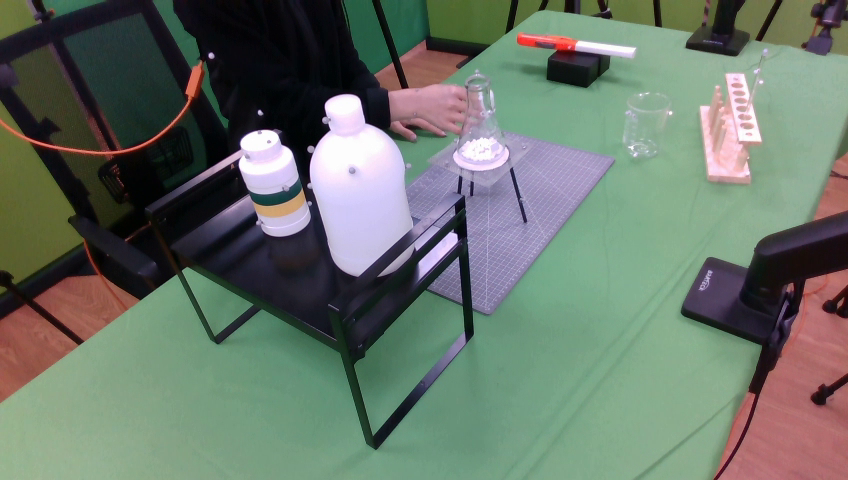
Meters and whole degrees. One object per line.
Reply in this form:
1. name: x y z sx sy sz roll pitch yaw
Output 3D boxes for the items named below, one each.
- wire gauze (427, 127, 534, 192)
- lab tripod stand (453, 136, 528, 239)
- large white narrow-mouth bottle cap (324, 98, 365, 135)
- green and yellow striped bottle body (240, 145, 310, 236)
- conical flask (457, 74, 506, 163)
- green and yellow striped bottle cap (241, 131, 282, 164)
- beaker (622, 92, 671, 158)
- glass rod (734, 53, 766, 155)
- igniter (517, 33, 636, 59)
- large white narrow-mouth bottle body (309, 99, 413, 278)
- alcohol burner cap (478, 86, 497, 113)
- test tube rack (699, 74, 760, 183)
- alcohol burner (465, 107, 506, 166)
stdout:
1. wire gauze: 0.086 -0.130 0.925 0.124 0.011 0.122 28 54 31
2. lab tripod stand: 0.095 -0.086 0.974 0.148 0.132 0.147 -4 43 4
3. large white narrow-mouth bottle cap: -0.076 -0.120 0.585 0.038 0.024 0.037 -3 42 3
4. green and yellow striped bottle body: -0.181 -0.068 0.729 0.063 0.120 0.063 -4 40 4
5. conical flask: 0.082 -0.181 0.893 0.075 0.122 0.075 -4 41 4
6. green and yellow striped bottle cap: -0.187 -0.107 0.695 0.045 0.020 0.045 -3 39 3
7. beaker: 0.402 -0.210 1.106 0.074 0.101 0.083 -9 40 -2
8. glass rod: 0.540 -0.220 1.006 0.008 0.201 0.008 -5 45 6
9. igniter: 0.336 -0.441 1.369 0.275 0.025 0.057 16 41 23
10. large white narrow-mouth bottle body: -0.069 -0.057 0.644 0.102 0.195 0.101 -3 42 4
11. alcohol burner cap: 0.111 -0.250 1.065 0.034 0.048 0.033 -4 58 6
12. test tube rack: 0.547 -0.208 1.095 0.066 0.085 0.242 6 42 16
13. alcohol burner: 0.113 -0.199 1.119 0.078 0.119 0.077 -4 43 4
